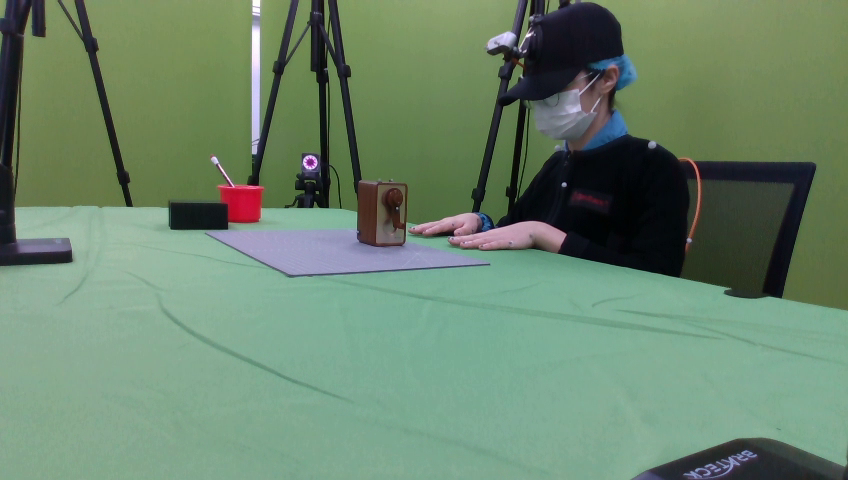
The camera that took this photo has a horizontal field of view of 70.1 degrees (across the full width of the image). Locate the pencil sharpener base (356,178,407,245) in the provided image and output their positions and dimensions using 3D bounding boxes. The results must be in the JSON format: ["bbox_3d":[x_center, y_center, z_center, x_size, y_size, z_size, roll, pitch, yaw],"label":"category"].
[{"bbox_3d":[-0.071,-0.049,1.018,0.062,0.107,0.076,-2,9,-32],"label":"pencil sharpener base"}]

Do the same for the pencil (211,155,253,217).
[{"bbox_3d":[-0.422,-0.120,1.331,0.012,0.012,0.193,-8,53,-52],"label":"pencil"}]

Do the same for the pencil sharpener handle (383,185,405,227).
[{"bbox_3d":[-0.043,-0.054,0.975,0.036,0.067,0.030,-9,13,-31],"label":"pencil sharpener handle"}]
